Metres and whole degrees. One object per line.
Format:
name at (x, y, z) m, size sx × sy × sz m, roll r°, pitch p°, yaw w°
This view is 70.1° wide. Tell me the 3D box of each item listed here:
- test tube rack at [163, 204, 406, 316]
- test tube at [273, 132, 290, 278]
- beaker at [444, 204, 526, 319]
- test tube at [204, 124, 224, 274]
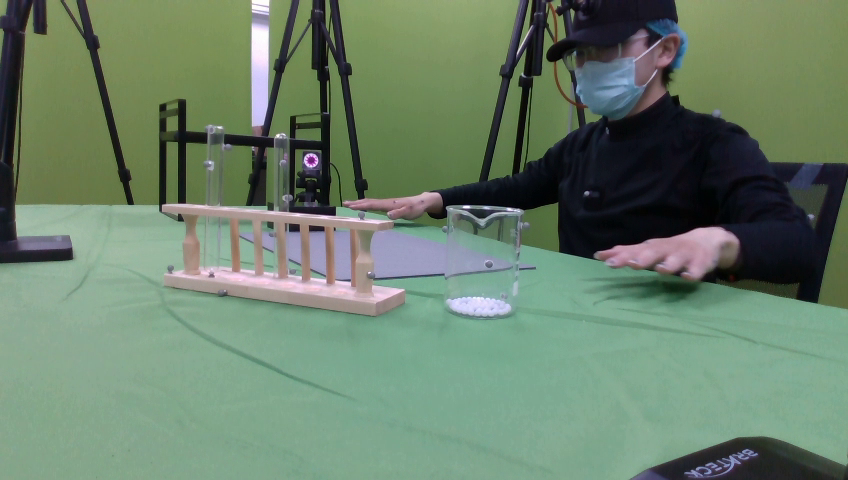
test tube rack at (-0.141, 0.013, 0.601) m, size 0.241 × 0.085 × 0.067 m, roll 5°, pitch 8°, yaw 21°
test tube at (-0.146, -0.034, 0.617) m, size 0.017 × 0.150 × 0.017 m, roll 2°, pitch 8°, yaw 0°
beaker at (0.055, 0.019, 0.563) m, size 0.074 × 0.100 × 0.084 m, roll 3°, pitch 8°, yaw 8°
test tube at (-0.210, -0.039, 0.603) m, size 0.017 × 0.150 × 0.017 m, roll 5°, pitch 10°, yaw -1°
